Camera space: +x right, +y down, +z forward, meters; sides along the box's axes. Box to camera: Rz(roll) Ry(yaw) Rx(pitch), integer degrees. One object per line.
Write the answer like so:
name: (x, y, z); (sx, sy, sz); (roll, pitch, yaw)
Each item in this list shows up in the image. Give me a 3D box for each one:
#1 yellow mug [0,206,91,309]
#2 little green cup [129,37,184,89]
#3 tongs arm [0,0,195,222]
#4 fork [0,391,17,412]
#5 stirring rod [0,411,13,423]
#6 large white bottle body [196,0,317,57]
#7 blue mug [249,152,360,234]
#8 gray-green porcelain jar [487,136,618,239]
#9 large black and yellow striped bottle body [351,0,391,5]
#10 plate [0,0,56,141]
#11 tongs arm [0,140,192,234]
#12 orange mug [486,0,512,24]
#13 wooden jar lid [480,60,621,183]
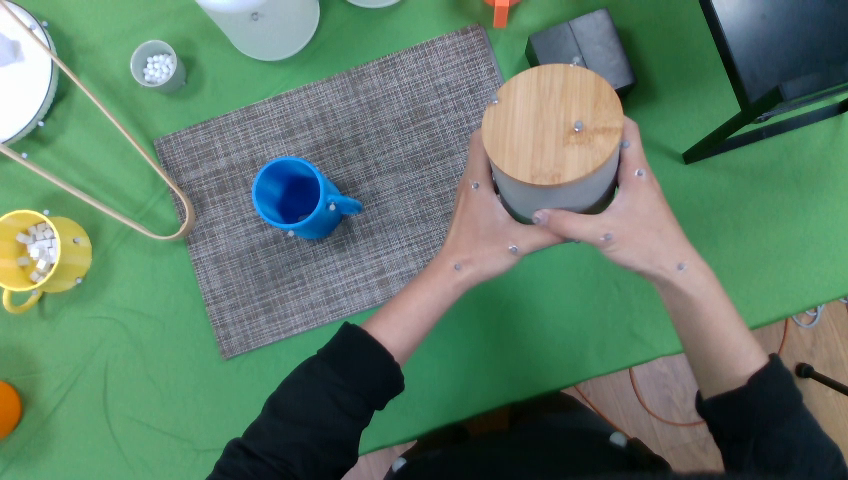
yellow mug: (-0.491, 0.025, 0.759); (0.100, 0.064, 0.130); (19, 88, 4)
little green cup: (-0.344, -0.227, 0.785); (0.061, 0.039, 0.061); (0, 86, 2)
tongs arm: (-0.422, -0.174, 0.769); (0.028, 0.028, 0.387); (-43, 91, -10)
fork: (-0.601, 0.204, 0.706); (0.209, 0.018, 0.028); (-1, 82, -41)
stirring rod: (-0.587, 0.219, 0.708); (0.006, 0.177, 0.014); (-33, 64, 43)
large white bottle body: (-0.209, -0.311, 0.712); (0.130, 0.185, 0.130); (0, 85, 3)
blue mug: (-0.134, -0.051, 0.723); (0.116, 0.106, 0.082); (6, 85, 4)
gray-green porcelain jar: (0.114, -0.066, 0.532); (0.105, 0.127, 0.105); (-6, 65, 13)
large black and yellow striped bottle body: (-0.073, -0.379, 0.711); (0.131, 0.184, 0.130); (0, 85, 3)
plate: (-0.581, -0.223, 0.797); (0.207, 0.039, 0.207); (0, 86, 3)
tongs arm: (-0.474, -0.108, 0.763); (0.385, 0.026, 0.050); (33, 84, -2)
orange mug: (0.095, -0.337, 0.742); (0.083, 0.101, 0.126); (4, 81, 4)
wooden jar lid: (0.098, -0.091, 0.477); (0.108, 0.021, 0.107); (-5, 67, 13)
